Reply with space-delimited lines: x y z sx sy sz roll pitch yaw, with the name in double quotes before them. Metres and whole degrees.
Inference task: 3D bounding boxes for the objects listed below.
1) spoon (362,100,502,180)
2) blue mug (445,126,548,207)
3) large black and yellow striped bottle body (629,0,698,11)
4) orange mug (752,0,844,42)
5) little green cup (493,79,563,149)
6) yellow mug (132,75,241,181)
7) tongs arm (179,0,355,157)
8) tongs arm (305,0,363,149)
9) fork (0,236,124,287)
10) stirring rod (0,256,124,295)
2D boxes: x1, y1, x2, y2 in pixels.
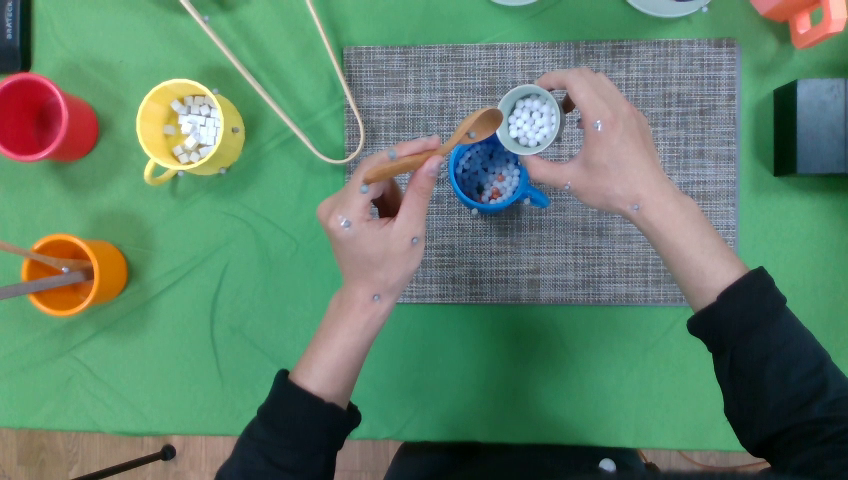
"spoon" 0.013 -0.076 0.459 0.021 0.193 0.042 44 127 5
"blue mug" 0.081 -0.071 0.655 0.116 0.106 0.082 28 93 2
"large black and yellow striped bottle body" 0.265 -0.321 0.600 0.131 0.184 0.130 0 91 4
"orange mug" 0.404 -0.279 0.637 0.083 0.101 0.126 -10 87 4
"little green cup" 0.097 -0.115 0.554 0.061 0.039 0.062 7 104 28
"yellow mug" -0.279 -0.120 0.696 0.100 0.064 0.131 39 94 1
"tongs arm" -0.220 -0.240 0.683 0.051 0.026 0.385 -39 97 0
"tongs arm" -0.150 -0.286 0.680 0.028 0.027 0.388 -25 97 -5
"fork" -0.438 0.010 0.667 0.209 0.018 0.028 28 88 -41
"stirring rod" -0.429 0.044 0.674 0.177 0.006 0.014 -16 86 -38
